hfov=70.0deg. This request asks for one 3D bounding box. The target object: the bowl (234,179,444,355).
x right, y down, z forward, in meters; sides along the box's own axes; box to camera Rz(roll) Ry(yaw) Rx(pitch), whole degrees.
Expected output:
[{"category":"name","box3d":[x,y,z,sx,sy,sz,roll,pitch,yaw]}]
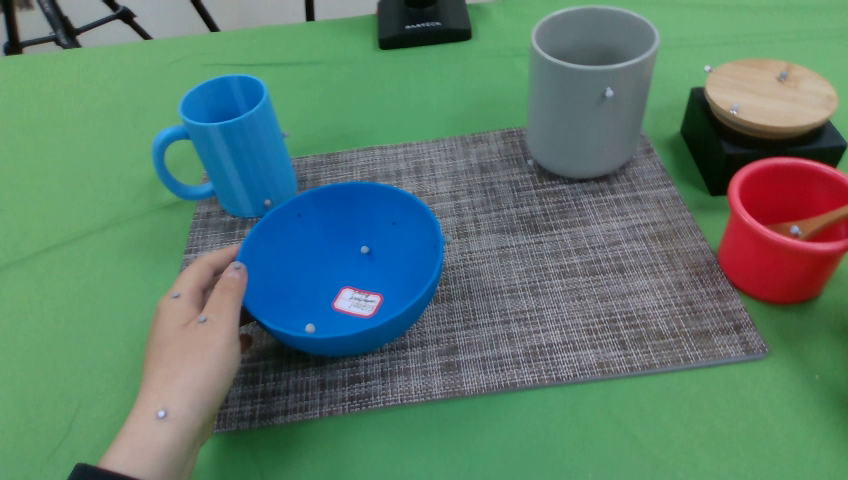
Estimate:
[{"category":"bowl","box3d":[-0.057,0.032,0.458,0.151,0.077,0.150,-3,47,4]}]

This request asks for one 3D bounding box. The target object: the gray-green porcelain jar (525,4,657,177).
[{"category":"gray-green porcelain jar","box3d":[0.145,-0.130,0.550,0.106,0.128,0.105,-3,47,4]}]

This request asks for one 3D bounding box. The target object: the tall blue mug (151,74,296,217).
[{"category":"tall blue mug","box3d":[-0.178,-0.076,0.551,0.077,0.109,0.107,30,57,28]}]

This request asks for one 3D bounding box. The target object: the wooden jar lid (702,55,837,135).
[{"category":"wooden jar lid","box3d":[0.304,-0.129,0.540,0.108,0.021,0.107,-4,47,5]}]

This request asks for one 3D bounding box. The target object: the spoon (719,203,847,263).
[{"category":"spoon","box3d":[0.305,-0.021,0.425,0.022,0.193,0.041,43,49,-17]}]
